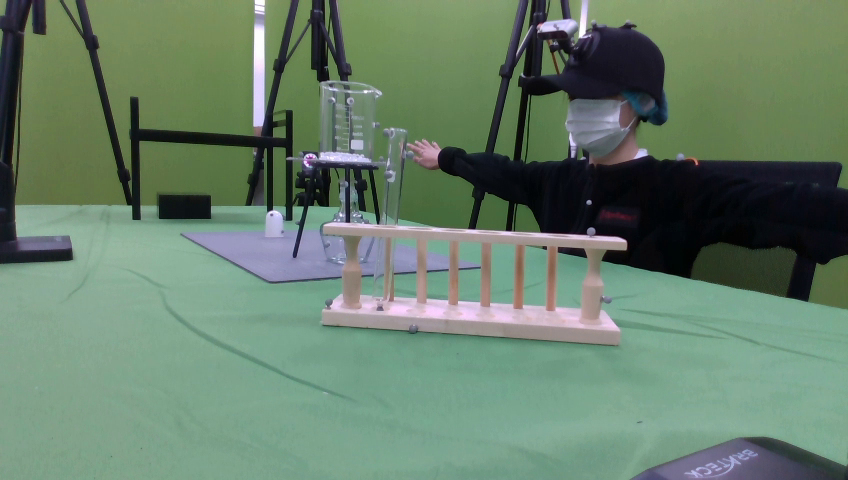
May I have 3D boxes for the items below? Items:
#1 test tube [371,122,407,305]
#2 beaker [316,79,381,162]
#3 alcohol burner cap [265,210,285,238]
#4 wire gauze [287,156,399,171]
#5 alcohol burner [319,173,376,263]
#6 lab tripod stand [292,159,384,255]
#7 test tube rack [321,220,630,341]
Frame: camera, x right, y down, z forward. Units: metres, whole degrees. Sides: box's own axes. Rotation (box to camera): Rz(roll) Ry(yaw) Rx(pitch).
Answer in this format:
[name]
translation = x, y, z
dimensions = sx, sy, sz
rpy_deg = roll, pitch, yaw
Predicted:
[test tube]
translation = -0.029, -0.020, 0.493
dimensions = 0.017, 0.150, 0.017
rpy_deg = 6, 9, -1
[beaker]
translation = -0.098, -0.151, 0.778
dimensions = 0.084, 0.100, 0.074
rpy_deg = 4, 7, 6
[alcohol burner cap]
translation = -0.253, -0.027, 1.027
dimensions = 0.034, 0.048, 0.034
rpy_deg = 2, 8, 0
[wire gauze]
translation = -0.101, -0.103, 0.788
dimensions = 0.121, 0.011, 0.125
rpy_deg = 5, 4, 5
[alcohol burner]
translation = -0.101, -0.030, 0.804
dimensions = 0.078, 0.119, 0.078
rpy_deg = 0, 6, 0
[lab tripod stand]
translation = -0.105, -0.039, 0.797
dimensions = 0.148, 0.131, 0.148
rpy_deg = 2, 5, 0
[test tube rack]
translation = 0.041, 0.029, 0.512
dimensions = 0.242, 0.085, 0.067
rpy_deg = 3, 7, 5
